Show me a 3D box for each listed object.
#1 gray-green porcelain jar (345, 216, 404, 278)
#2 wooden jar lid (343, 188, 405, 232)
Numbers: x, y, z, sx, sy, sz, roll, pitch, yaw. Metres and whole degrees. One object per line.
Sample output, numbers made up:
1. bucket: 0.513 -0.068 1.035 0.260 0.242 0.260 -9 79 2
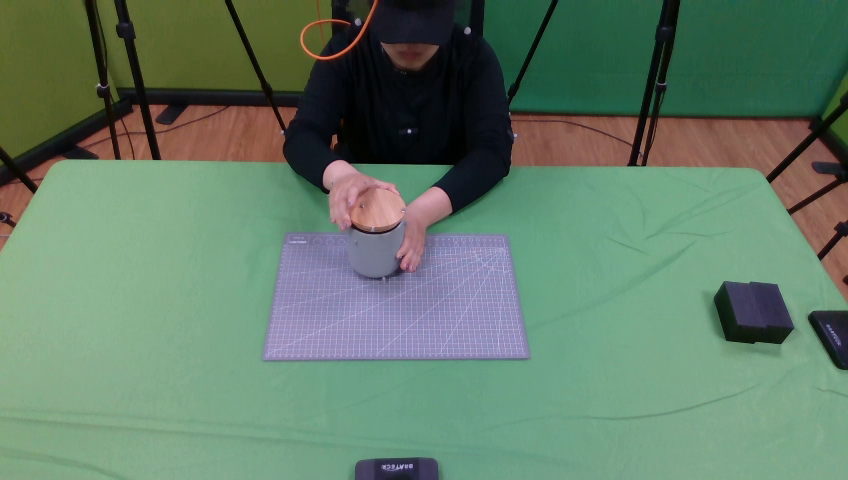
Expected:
1. gray-green porcelain jar: -0.091 -0.001 1.117 0.106 0.127 0.105 2 46 -2
2. wooden jar lid: -0.087 -0.051 1.064 0.108 0.021 0.107 4 43 -3
